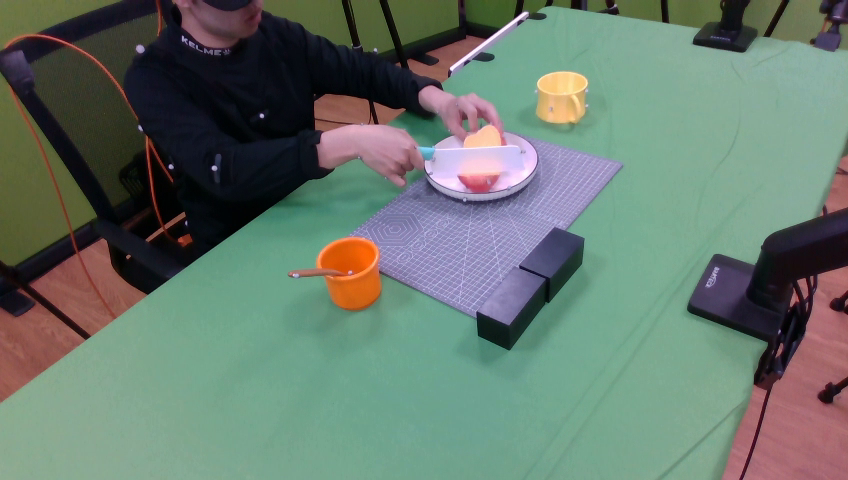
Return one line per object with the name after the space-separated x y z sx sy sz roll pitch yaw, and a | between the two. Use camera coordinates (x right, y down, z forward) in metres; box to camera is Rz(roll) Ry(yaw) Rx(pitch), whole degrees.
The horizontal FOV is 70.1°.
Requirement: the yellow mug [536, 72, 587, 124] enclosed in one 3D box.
0.285 -0.281 1.222 0.100 0.064 0.130 -16 42 -9 | yellow mug

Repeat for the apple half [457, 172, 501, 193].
0.097 -0.098 1.047 0.081 0.033 0.081 -2 -1 0 | apple half

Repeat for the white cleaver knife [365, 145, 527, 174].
0.033 -0.136 1.046 0.285 0.066 0.021 2 48 14 | white cleaver knife

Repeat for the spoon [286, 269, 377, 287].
-0.125 0.049 0.831 0.041 0.195 0.021 22 92 28 | spoon

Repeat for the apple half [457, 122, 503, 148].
0.104 -0.165 1.077 0.080 0.054 0.074 -14 63 13 | apple half

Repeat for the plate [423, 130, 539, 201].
0.102 -0.132 1.092 0.209 0.038 0.208 -4 40 4 | plate
